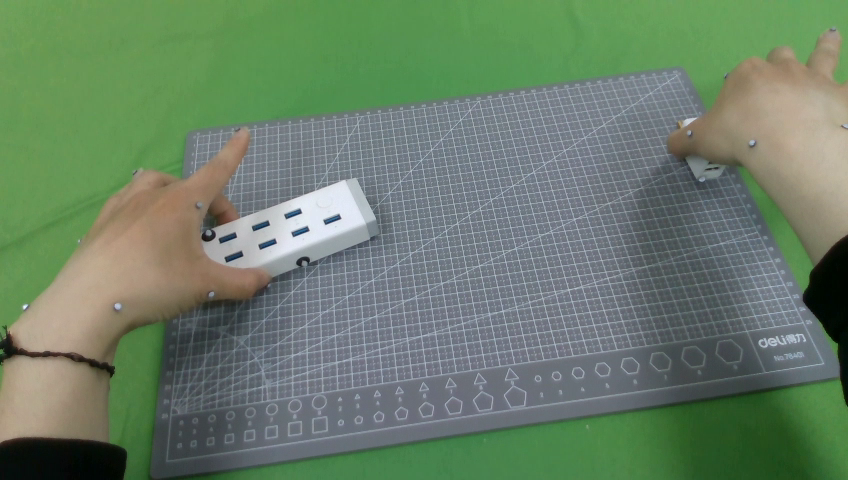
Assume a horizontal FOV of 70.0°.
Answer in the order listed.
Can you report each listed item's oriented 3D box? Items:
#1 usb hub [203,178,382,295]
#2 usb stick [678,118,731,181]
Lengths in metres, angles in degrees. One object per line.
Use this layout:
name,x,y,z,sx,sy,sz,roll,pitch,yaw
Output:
usb hub,-0.099,-0.005,0.460,0.125,0.025,0.049,-21,58,-11
usb stick,0.222,-0.078,0.487,0.021,0.027,0.058,-7,55,-2
